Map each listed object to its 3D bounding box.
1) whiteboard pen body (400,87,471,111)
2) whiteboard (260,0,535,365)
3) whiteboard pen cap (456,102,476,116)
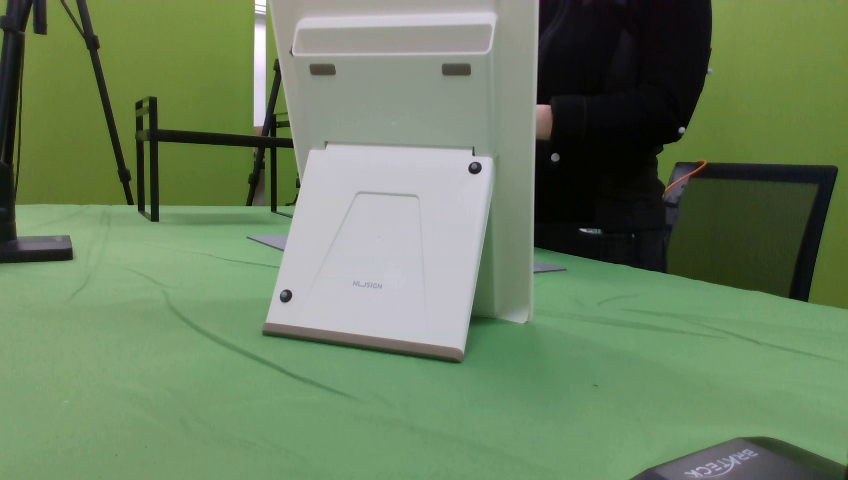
[{"bbox_3d":[0.019,-0.236,1.019,0.140,0.017,0.017,22,16,27],"label":"whiteboard pen body"},{"bbox_3d":[-0.037,-0.040,0.457,0.216,0.305,0.144,5,28,19],"label":"whiteboard"},{"bbox_3d":[0.068,-0.215,0.994,0.033,0.018,0.018,22,16,26],"label":"whiteboard pen cap"}]
